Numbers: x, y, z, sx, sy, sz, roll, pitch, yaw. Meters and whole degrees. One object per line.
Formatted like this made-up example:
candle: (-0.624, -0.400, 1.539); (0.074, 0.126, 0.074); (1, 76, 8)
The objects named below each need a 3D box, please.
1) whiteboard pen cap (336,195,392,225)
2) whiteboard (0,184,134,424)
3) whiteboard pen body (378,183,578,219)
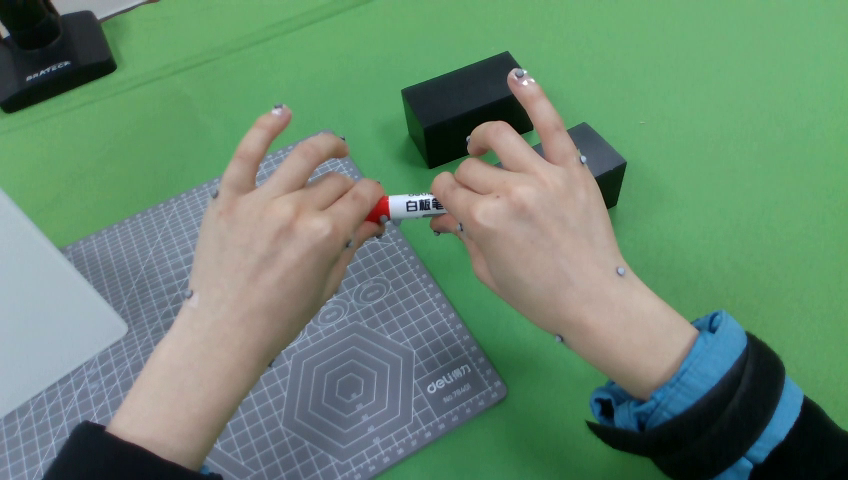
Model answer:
whiteboard pen cap: (-0.036, -0.018, 0.364); (0.032, 0.017, 0.017); (-5, 55, -2)
whiteboard: (-0.380, -0.009, 0.374); (0.217, 0.309, 0.142); (-36, 39, -17)
whiteboard pen body: (0.023, -0.023, 0.364); (0.141, 0.017, 0.016); (-4, 55, -3)
